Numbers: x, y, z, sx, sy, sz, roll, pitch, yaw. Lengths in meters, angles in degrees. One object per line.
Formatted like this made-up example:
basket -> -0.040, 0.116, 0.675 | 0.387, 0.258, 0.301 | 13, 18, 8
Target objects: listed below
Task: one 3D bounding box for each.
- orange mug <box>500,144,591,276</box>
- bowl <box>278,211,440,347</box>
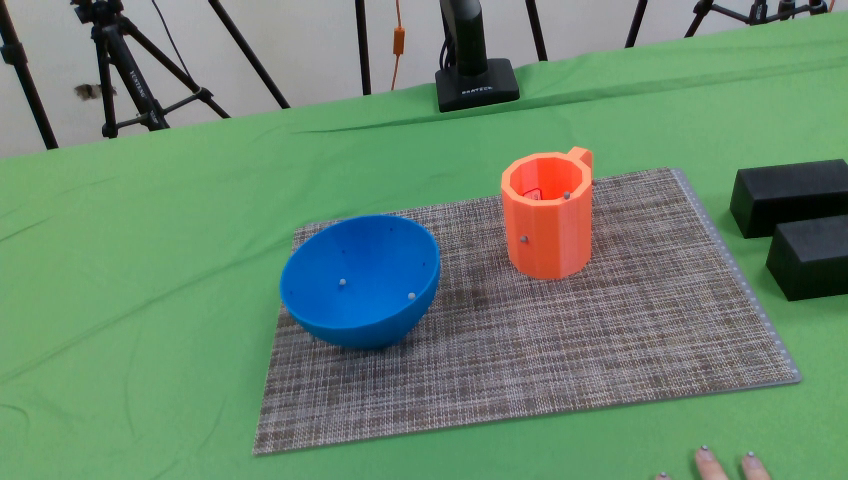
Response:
orange mug -> 0.133, -0.039, 0.614 | 0.083, 0.102, 0.126 | 23, 56, 34
bowl -> -0.054, 0.049, 0.578 | 0.151, 0.077, 0.150 | -7, 41, 7
